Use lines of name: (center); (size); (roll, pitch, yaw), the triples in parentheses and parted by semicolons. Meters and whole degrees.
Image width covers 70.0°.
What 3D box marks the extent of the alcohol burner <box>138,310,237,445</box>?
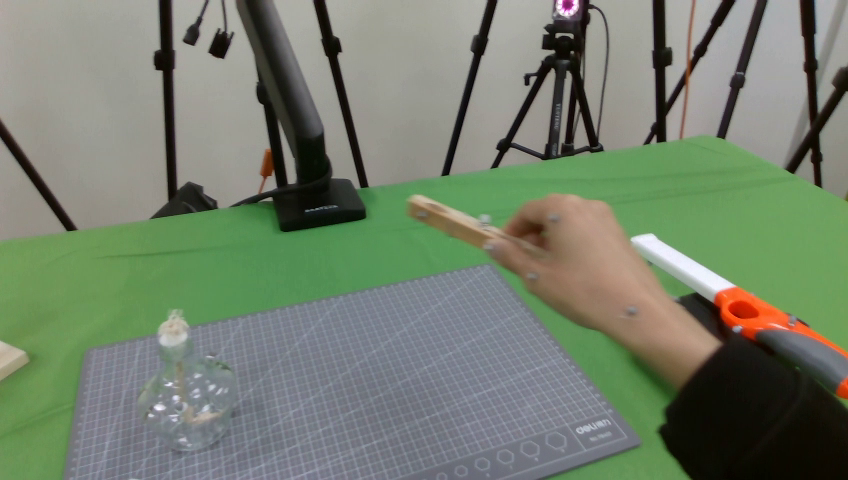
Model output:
alcohol burner: (-0.196, 0.108, 0.495); (0.078, 0.120, 0.077); (0, 30, 1)

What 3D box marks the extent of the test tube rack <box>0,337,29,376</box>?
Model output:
test tube rack: (-0.472, 0.129, 0.496); (0.066, 0.086, 0.241); (14, 34, 22)

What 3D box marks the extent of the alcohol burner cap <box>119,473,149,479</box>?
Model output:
alcohol burner cap: (-0.207, 0.188, 0.433); (0.034, 0.048, 0.033); (0, 31, 0)

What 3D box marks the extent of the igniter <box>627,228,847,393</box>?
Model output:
igniter: (0.292, 0.054, 0.579); (0.057, 0.025, 0.273); (-13, 30, -18)

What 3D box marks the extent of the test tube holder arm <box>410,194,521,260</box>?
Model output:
test tube holder arm: (0.029, -0.010, 0.432); (0.087, 0.015, 0.010); (25, 37, 18)

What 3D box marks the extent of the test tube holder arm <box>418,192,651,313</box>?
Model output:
test tube holder arm: (0.071, 0.006, 0.422); (0.177, 0.015, 0.013); (25, 37, 18)
